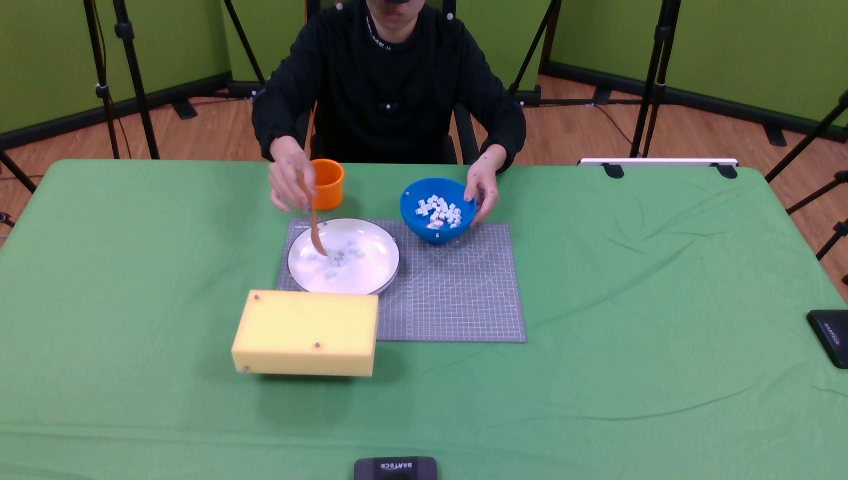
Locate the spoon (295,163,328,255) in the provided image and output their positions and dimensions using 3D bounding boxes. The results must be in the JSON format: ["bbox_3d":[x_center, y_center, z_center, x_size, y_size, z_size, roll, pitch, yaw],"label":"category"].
[{"bbox_3d":[-0.195,-0.050,1.049,0.021,0.195,0.041,-24,39,-25],"label":"spoon"}]

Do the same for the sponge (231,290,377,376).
[{"bbox_3d":[-0.180,0.144,0.949,0.207,0.061,0.117,2,46,-2],"label":"sponge"}]

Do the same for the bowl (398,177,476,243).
[{"bbox_3d":[0.024,-0.046,1.187,0.151,0.077,0.150,3,46,-3],"label":"bowl"}]

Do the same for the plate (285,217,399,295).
[{"bbox_3d":[-0.150,0.041,1.131,0.209,0.038,0.208,2,46,-2],"label":"plate"}]
